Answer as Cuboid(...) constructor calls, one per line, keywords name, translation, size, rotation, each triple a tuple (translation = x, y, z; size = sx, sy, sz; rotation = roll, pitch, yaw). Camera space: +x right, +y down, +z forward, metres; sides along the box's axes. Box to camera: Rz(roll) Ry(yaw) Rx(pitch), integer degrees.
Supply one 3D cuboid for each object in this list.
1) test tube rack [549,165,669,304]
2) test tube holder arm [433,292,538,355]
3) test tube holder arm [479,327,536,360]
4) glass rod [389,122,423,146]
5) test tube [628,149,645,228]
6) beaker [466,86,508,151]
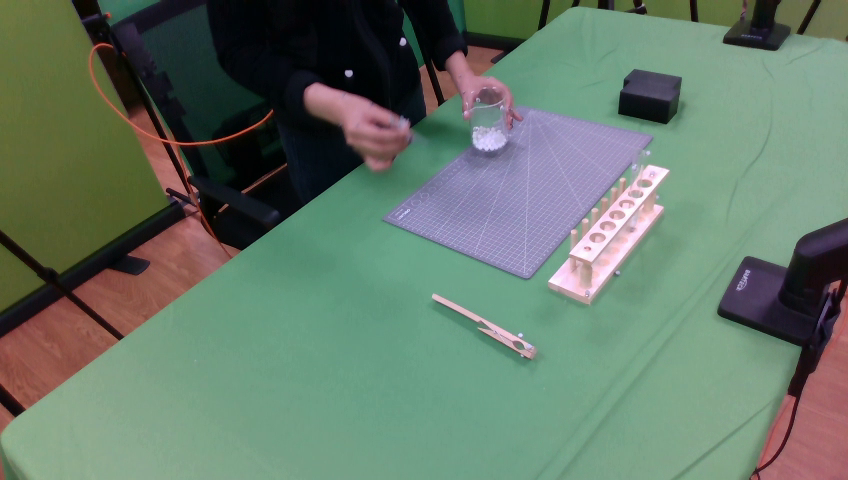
Cuboid(name="test tube rack", translation=(0.279, -0.018, 0.902), size=(0.066, 0.085, 0.243), rotation=(24, 50, 33))
Cuboid(name="test tube holder arm", translation=(0.081, 0.112, 0.832), size=(0.177, 0.015, 0.013), rotation=(28, 82, 36))
Cuboid(name="test tube holder arm", translation=(0.110, 0.134, 0.805), size=(0.087, 0.015, 0.010), rotation=(29, 82, 36))
Cuboid(name="glass rod", translation=(-0.024, -0.160, 0.918), size=(0.008, 0.008, 0.200), rotation=(0, 0, 12))
Cuboid(name="test tube", translation=(0.309, -0.071, 0.882), size=(0.017, 0.151, 0.017), rotation=(-7, 47, 8))
Cuboid(name="beaker", translation=(0.117, -0.221, 1.118), size=(0.084, 0.101, 0.073), rotation=(-35, 46, -25))
